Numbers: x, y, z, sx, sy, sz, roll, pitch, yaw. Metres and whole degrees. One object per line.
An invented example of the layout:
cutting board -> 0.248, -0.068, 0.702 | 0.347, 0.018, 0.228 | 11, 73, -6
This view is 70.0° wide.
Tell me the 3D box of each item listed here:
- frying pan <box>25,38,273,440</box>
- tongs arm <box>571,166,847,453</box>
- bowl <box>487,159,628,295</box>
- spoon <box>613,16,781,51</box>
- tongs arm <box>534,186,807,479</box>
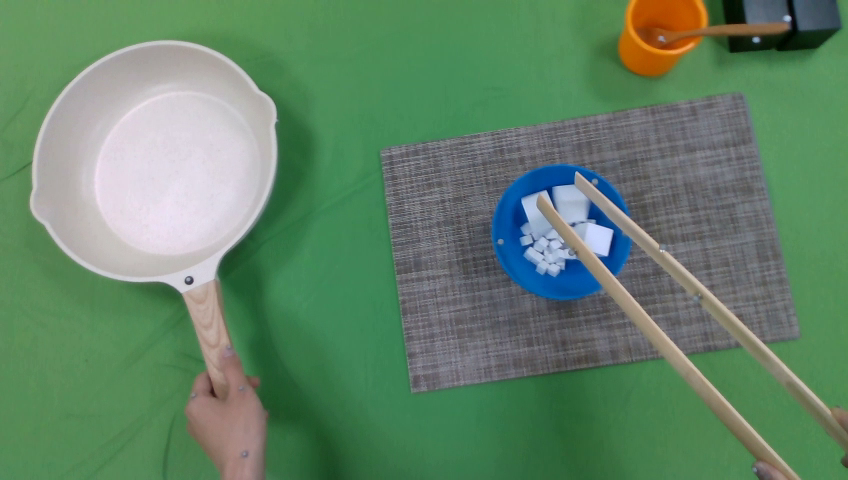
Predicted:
frying pan -> -0.280, -0.004, 0.701 | 0.307, 0.103, 0.484 | -23, 72, 0
tongs arm -> 0.238, 0.071, 0.514 | 0.051, 0.027, 0.381 | -32, 60, -14
bowl -> 0.146, -0.009, 0.687 | 0.151, 0.077, 0.151 | 0, 81, 3
spoon -> 0.299, -0.237, 0.683 | 0.022, 0.192, 0.041 | 34, 79, -35
tongs arm -> 0.214, 0.085, 0.509 | 0.028, 0.028, 0.383 | -28, 59, -15
